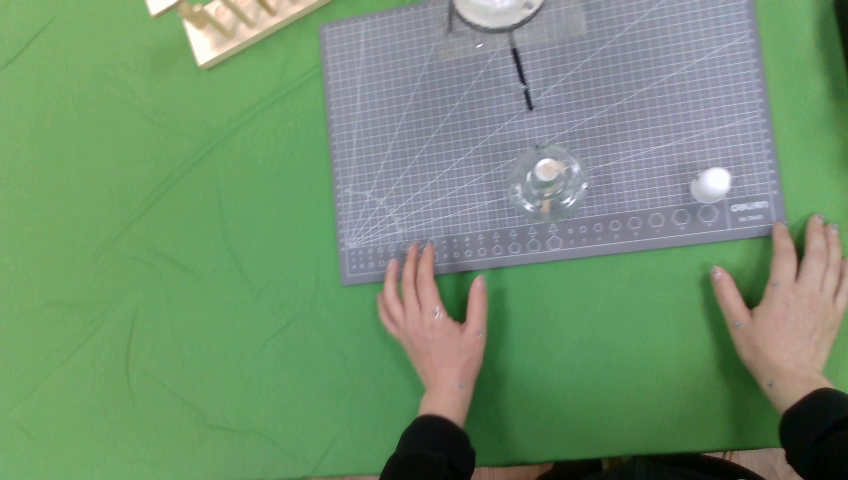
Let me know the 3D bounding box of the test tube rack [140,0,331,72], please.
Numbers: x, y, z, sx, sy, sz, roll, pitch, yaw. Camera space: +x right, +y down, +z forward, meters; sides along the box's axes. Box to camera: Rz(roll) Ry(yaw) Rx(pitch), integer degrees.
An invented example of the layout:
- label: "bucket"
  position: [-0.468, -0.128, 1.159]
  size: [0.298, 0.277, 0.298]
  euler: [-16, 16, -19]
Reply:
- label: "test tube rack"
  position: [-0.182, -0.285, 0.673]
  size: [0.242, 0.085, 0.066]
  euler: [-25, 81, 10]

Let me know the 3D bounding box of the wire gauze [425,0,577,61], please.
- label: "wire gauze"
  position: [0.060, -0.220, 0.516]
  size: [0.125, 0.011, 0.121]
  euler: [-8, 88, 10]

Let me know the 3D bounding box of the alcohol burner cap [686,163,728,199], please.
- label: "alcohol burner cap"
  position: [0.269, -0.058, 0.571]
  size: [0.034, 0.048, 0.034]
  euler: [-1, 85, 13]

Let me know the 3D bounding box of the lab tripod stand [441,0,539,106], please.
- label: "lab tripod stand"
  position: [0.075, -0.214, 0.580]
  size: [0.148, 0.132, 0.148]
  euler: [-1, 87, 12]

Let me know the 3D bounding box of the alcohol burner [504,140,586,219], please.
- label: "alcohol burner"
  position: [0.114, -0.060, 0.571]
  size: [0.078, 0.119, 0.077]
  euler: [-1, 85, 12]

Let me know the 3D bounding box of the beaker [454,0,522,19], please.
- label: "beaker"
  position: [0.043, -0.224, 0.470]
  size: [0.084, 0.100, 0.074]
  euler: [6, 88, 14]
